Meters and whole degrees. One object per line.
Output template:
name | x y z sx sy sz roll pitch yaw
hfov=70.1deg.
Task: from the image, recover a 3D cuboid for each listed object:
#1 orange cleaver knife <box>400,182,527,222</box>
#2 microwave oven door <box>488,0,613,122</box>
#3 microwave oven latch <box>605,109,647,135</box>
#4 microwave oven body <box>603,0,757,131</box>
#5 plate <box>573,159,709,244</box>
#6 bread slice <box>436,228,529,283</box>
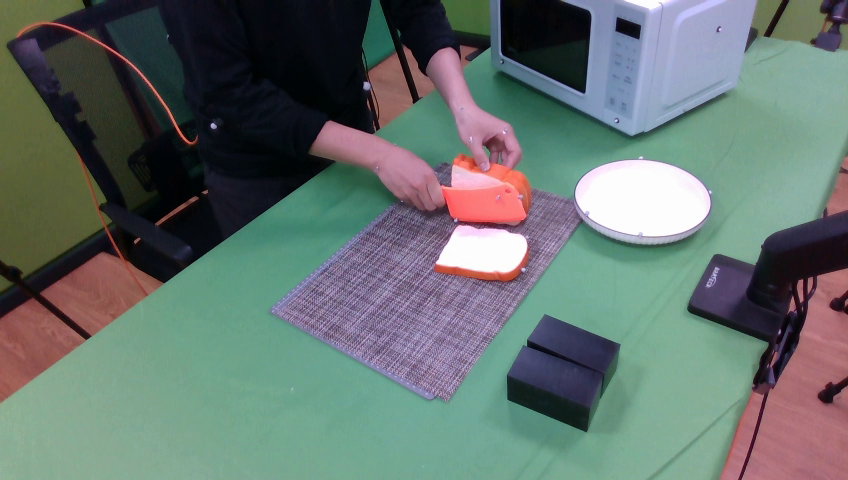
orange cleaver knife | 0.061 -0.062 0.969 0.210 0.077 0.012 5 38 24
microwave oven door | 0.250 -0.412 1.219 0.039 0.245 0.352 -27 44 -21
microwave oven latch | 0.378 -0.225 1.139 0.030 0.029 0.078 -26 43 -19
microwave oven body | 0.396 -0.448 1.248 0.327 0.261 0.437 -27 44 -21
plate | 0.347 -0.059 0.979 0.207 0.039 0.206 -4 41 4
bread slice | 0.093 0.024 0.929 0.133 0.018 0.107 7 47 29
